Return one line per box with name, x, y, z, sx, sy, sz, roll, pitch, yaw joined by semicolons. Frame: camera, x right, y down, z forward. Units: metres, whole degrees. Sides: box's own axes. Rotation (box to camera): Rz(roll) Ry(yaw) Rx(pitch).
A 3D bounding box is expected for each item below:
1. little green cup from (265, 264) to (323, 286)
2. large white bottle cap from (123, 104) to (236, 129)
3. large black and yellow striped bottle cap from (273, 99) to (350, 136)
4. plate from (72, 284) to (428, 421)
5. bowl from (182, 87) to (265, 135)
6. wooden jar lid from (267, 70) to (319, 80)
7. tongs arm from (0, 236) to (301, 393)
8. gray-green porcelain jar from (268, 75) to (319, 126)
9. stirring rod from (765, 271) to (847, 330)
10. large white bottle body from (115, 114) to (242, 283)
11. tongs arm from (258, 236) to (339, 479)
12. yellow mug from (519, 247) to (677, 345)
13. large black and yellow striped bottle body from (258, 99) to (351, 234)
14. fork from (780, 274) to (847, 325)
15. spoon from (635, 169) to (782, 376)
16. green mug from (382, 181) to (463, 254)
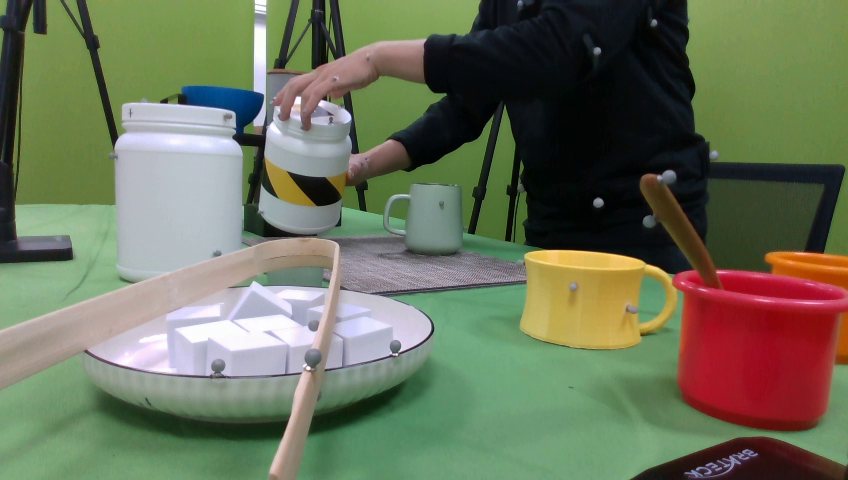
little green cup;-0.134;0.033;0.628;0.061;0.038;0.061;3;7;0
large white bottle cap;-0.266;-0.135;0.663;0.115;0.018;0.115;3;7;0
large black and yellow striped bottle cap;-0.170;-0.187;0.916;0.115;0.019;0.115;10;28;-5
plate;-0.102;0.067;0.381;0.208;0.039;0.207;3;7;0
bowl;-0.383;-0.243;1.158;0.151;0.077;0.151;2;7;0
wooden jar lid;-0.275;-0.340;1.271;0.108;0.020;0.108;5;6;0
tongs arm;-0.157;0.038;0.347;0.028;0.028;0.388;-3;8;11
gray-green porcelain jar;-0.277;-0.279;1.280;0.106;0.126;0.106;2;8;0
stirring rod;0.351;0.020;0.481;0.176;0.006;0.014;-40;-7;17
large white bottle body;-0.270;-0.051;0.673;0.131;0.184;0.130;2;8;0
tongs arm;-0.074;0.040;0.345;0.051;0.026;0.384;-2;9;-3
yellow mug;0.148;0.045;0.513;0.131;0.064;0.100;3;7;0
large black and yellow striped bottle body;-0.188;-0.116;0.957;0.131;0.184;0.130;12;29;-6
fork;0.332;0.018;0.443;0.028;0.018;0.207;-3;-35;-16
spoon;0.161;0.026;0.346;0.041;0.194;0.021;10;56;53
green mug;-0.001;-0.036;0.922;0.126;0.105;0.092;0;9;-15
